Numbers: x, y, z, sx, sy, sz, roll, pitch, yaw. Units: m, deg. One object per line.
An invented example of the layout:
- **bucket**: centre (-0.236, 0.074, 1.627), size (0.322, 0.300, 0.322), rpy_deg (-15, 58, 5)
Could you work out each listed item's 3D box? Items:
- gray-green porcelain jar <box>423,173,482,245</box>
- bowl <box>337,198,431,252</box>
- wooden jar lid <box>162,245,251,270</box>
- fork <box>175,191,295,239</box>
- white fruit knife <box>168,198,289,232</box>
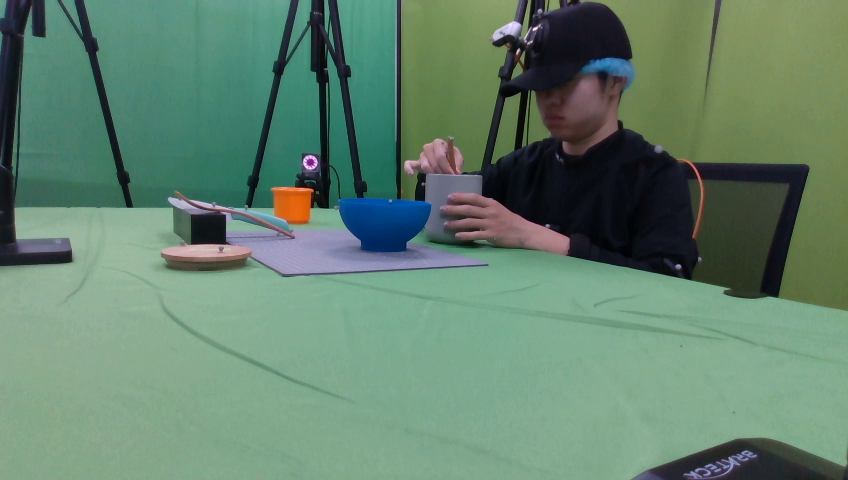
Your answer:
- **gray-green porcelain jar**: centre (0.052, -0.059, 1.115), size (0.106, 0.126, 0.106), rpy_deg (3, 8, 0)
- **bowl**: centre (-0.066, -0.024, 0.967), size (0.151, 0.077, 0.151), rpy_deg (2, 7, 0)
- **wooden jar lid**: centre (-0.278, 0.022, 0.777), size (0.108, 0.020, 0.108), rpy_deg (2, 6, 0)
- **fork**: centre (-0.305, -0.039, 0.993), size (0.208, 0.018, 0.028), rpy_deg (19, -9, -34)
- **white fruit knife**: centre (-0.329, -0.044, 1.036), size (0.208, 0.027, 0.016), rpy_deg (14, -1, -32)
